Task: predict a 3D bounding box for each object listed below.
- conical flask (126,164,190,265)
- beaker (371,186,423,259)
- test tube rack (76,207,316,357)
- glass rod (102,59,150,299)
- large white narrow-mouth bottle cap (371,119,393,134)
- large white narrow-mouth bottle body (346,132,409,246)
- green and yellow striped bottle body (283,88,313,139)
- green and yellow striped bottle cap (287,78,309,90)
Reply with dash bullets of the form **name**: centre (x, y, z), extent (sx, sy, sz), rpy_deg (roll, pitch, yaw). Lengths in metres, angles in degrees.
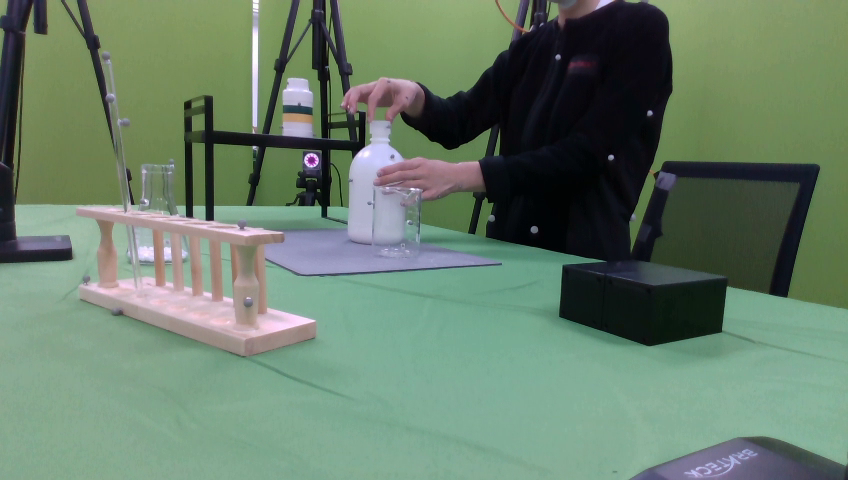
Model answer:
- **conical flask**: centre (-0.332, -0.033, 0.756), extent (0.075, 0.122, 0.075), rpy_deg (2, 7, 0)
- **beaker**: centre (-0.038, -0.025, 0.868), extent (0.074, 0.100, 0.083), rpy_deg (-1, 8, -22)
- **test tube rack**: centre (-0.196, 0.023, 0.500), extent (0.241, 0.085, 0.067), rpy_deg (8, 9, 36)
- **glass rod**: centre (-0.243, -0.045, 0.496), extent (0.008, 0.199, 0.008), rpy_deg (-3, 13, 1)
- **large white narrow-mouth bottle cap**: centre (-0.068, -0.187, 0.996), extent (0.038, 0.024, 0.037), rpy_deg (4, 8, 0)
- **large white narrow-mouth bottle body**: centre (-0.076, -0.091, 1.011), extent (0.102, 0.194, 0.102), rpy_deg (4, 8, 0)
- **green and yellow striped bottle body**: centre (-0.266, -0.275, 1.275), extent (0.063, 0.119, 0.063), rpy_deg (3, 7, 0)
- **green and yellow striped bottle cap**: centre (-0.265, -0.326, 1.268), extent (0.045, 0.020, 0.045), rpy_deg (4, 6, 0)
